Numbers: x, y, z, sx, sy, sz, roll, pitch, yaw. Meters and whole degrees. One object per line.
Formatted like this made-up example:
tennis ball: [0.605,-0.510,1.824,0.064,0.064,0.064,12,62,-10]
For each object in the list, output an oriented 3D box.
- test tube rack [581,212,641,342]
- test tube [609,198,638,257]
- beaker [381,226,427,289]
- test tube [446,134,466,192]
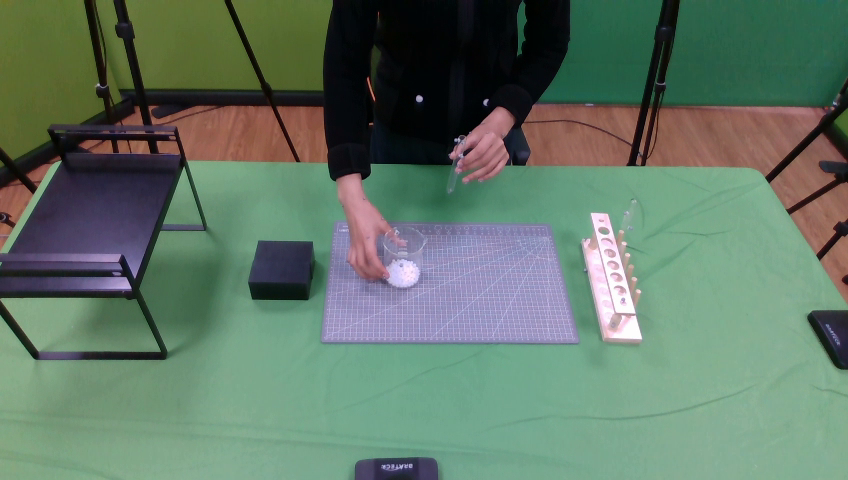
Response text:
test tube rack: [0.351,0.063,1.121,0.067,0.085,0.241,2,46,-1]
test tube: [0.375,-0.021,1.141,0.017,0.151,0.017,2,45,-2]
beaker: [-0.037,0.034,1.105,0.084,0.101,0.073,-9,48,-12]
test tube: [0.060,-0.142,1.147,0.017,0.151,0.017,4,54,-6]
